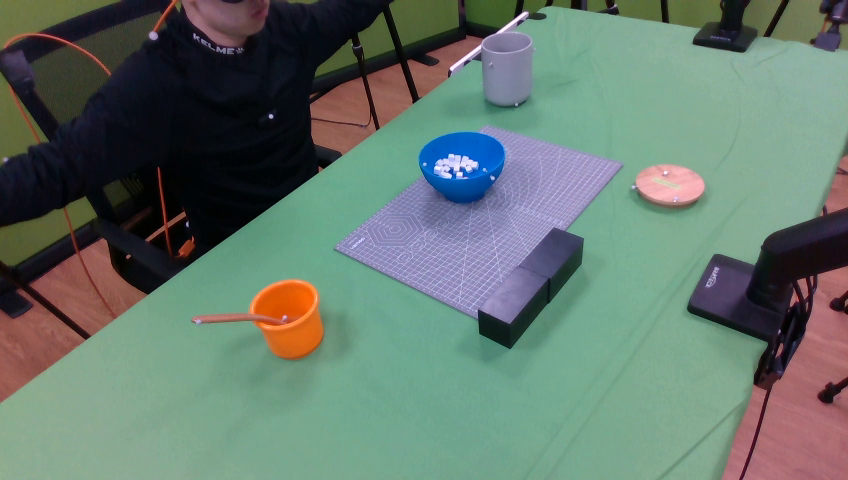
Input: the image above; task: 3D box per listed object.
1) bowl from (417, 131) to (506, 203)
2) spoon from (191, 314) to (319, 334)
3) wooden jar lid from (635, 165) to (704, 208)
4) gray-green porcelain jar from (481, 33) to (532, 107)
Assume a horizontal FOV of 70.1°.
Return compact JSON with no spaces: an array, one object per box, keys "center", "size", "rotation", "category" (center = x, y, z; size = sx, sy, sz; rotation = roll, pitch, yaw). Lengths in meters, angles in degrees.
[{"center":[0.067,-0.116,1.048],"size":[0.151,0.077,0.150],"rotation":[-4,40,4],"category":"bowl"},{"center":[-0.212,0.105,0.780],"size":[0.041,0.195,0.021],"rotation":[29,97,37],"category":"spoon"},{"center":[0.410,-0.089,1.014],"size":[0.108,0.021,0.108],"rotation":[-5,42,5],"category":"wooden jar lid"},{"center":[0.175,-0.355,1.278],"size":[0.106,0.127,0.105],"rotation":[-4,41,4],"category":"gray-green porcelain jar"}]
